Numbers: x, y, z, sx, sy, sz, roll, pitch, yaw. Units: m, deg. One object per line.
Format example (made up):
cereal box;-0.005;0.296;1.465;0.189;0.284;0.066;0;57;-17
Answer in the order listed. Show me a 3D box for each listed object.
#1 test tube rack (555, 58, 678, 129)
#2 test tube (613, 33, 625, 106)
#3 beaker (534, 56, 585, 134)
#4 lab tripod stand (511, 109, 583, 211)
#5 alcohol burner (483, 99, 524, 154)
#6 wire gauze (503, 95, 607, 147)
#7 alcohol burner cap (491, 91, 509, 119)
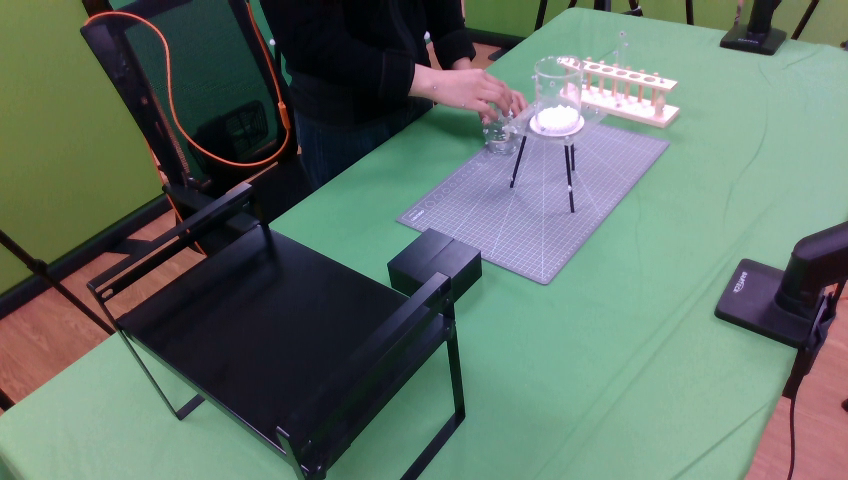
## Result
test tube rack;0.390;-0.307;1.229;0.240;0.085;0.067;25;50;33
test tube;0.380;-0.330;1.180;0.017;0.151;0.017;-7;41;6
beaker;0.209;-0.226;0.942;0.074;0.101;0.083;-2;41;7
lab tripod stand;0.220;-0.138;1.014;0.148;0.132;0.147;-3;41;3
alcohol burner;0.149;-0.222;1.141;0.078;0.119;0.077;-6;42;5
wire gauze;0.212;-0.191;0.976;0.120;0.011;0.125;24;52;32
alcohol burner cap;0.138;-0.251;1.116;0.034;0.048;0.034;-6;23;3
